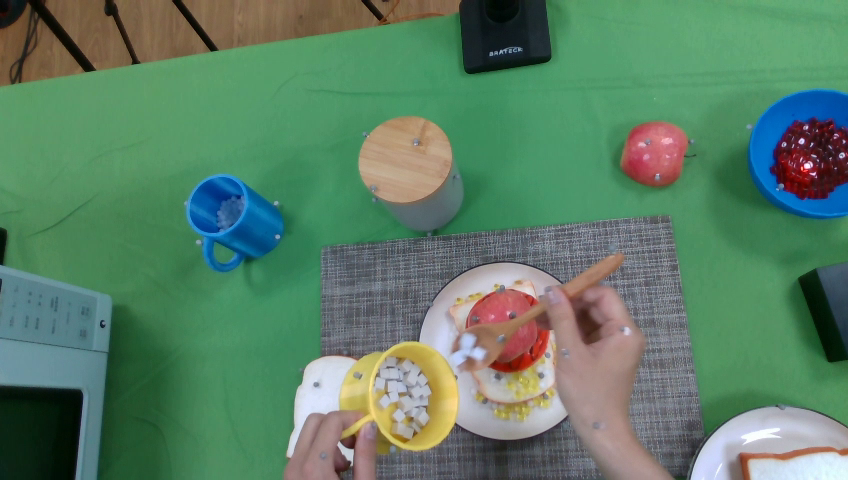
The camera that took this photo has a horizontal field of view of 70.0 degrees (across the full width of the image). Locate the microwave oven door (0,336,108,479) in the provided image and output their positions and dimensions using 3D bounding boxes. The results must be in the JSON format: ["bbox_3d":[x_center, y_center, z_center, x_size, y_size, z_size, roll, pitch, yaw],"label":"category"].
[{"bbox_3d":[-0.455,0.287,0.660,0.039,0.245,0.353,-5,75,10],"label":"microwave oven door"}]

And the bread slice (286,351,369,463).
[{"bbox_3d":[-0.115,0.204,0.752,0.105,0.019,0.131,2,78,10],"label":"bread slice"}]

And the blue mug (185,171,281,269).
[{"bbox_3d":[-0.252,-0.018,0.790,0.082,0.106,0.116,15,79,14],"label":"blue mug"}]

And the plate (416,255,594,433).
[{"bbox_3d":[0.094,0.122,0.722,0.207,0.039,0.206,-3,76,10],"label":"plate"}]

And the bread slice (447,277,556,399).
[{"bbox_3d":[0.100,0.121,0.725,0.107,0.018,0.133,-22,71,5],"label":"bread slice"}]

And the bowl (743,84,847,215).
[{"bbox_3d":[0.439,-0.093,0.695,0.151,0.077,0.150,-3,76,10],"label":"bowl"}]

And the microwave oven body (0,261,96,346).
[{"bbox_3d":[-0.599,0.260,0.699,0.325,0.262,0.439,-5,75,9],"label":"microwave oven body"}]

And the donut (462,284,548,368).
[{"bbox_3d":[0.093,0.099,0.699,0.099,0.048,0.098,-3,76,10],"label":"donut"}]

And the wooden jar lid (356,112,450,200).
[{"bbox_3d":[-0.023,-0.093,0.690,0.108,0.021,0.108,-2,73,8],"label":"wooden jar lid"}]

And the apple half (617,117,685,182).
[{"bbox_3d":[0.280,-0.117,0.745,0.074,0.054,0.080,16,80,17],"label":"apple half"}]

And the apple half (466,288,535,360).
[{"bbox_3d":[0.084,0.090,0.665,0.081,0.033,0.081,-6,70,16],"label":"apple half"}]

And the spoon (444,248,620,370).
[{"bbox_3d":[0.092,0.063,0.539,0.194,0.022,0.041,-38,82,31],"label":"spoon"}]

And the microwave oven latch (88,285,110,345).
[{"bbox_3d":[-0.444,0.101,0.811,0.030,0.030,0.079,-2,76,10],"label":"microwave oven latch"}]

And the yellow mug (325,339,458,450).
[{"bbox_3d":[-0.036,0.156,0.580,0.131,0.064,0.100,-23,86,-37],"label":"yellow mug"}]

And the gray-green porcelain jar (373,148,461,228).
[{"bbox_3d":[-0.010,-0.077,0.750,0.105,0.127,0.105,-3,75,10],"label":"gray-green porcelain jar"}]

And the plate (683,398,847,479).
[{"bbox_3d":[0.378,0.273,0.634,0.209,0.038,0.208,-3,75,10],"label":"plate"}]
